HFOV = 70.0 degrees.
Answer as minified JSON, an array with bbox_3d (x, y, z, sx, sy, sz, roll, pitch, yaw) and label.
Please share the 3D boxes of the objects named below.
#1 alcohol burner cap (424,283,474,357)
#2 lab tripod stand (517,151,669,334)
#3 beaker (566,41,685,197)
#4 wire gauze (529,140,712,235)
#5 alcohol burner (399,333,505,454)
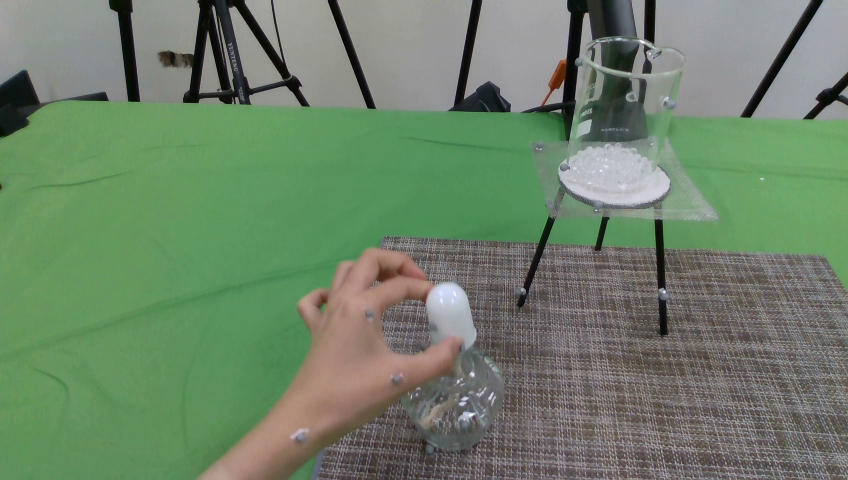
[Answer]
[{"bbox_3d":[0.014,0.050,0.397,0.034,0.048,0.033,-6,36,5],"label":"alcohol burner cap"},{"bbox_3d":[0.159,0.001,0.533,0.148,0.132,0.147,0,37,0],"label":"lab tripod stand"},{"bbox_3d":[0.151,-0.092,0.466,0.073,0.101,0.084,27,45,30],"label":"beaker"},{"bbox_3d":[0.153,-0.048,0.490,0.125,0.011,0.120,3,39,-1],"label":"wire gauze"},{"bbox_3d":[0.020,0.097,0.431,0.078,0.120,0.077,0,39,0],"label":"alcohol burner"}]
